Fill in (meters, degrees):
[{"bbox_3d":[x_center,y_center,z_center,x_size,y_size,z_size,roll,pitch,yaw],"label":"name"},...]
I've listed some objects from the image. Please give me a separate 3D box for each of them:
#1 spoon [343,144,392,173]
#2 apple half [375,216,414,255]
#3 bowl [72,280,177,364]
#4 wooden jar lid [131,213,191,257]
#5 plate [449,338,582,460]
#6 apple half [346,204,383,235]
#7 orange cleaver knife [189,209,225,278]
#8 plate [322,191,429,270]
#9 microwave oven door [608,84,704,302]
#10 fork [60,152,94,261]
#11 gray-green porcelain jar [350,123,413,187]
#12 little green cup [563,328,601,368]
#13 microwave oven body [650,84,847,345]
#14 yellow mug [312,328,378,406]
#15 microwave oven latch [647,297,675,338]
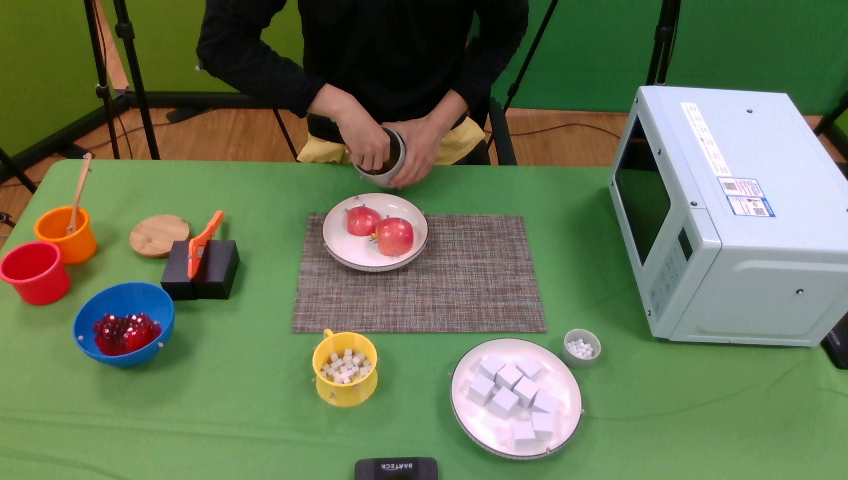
[{"bbox_3d":[-0.106,-0.158,1.180,0.021,0.194,0.041,-17,75,17],"label":"spoon"},{"bbox_3d":[-0.056,-0.017,1.169,0.075,0.053,0.080,0,46,-7],"label":"apple half"},{"bbox_3d":[-0.473,0.147,0.982,0.151,0.077,0.150,2,46,-2],"label":"bowl"},{"bbox_3d":[-0.504,-0.008,1.167,0.108,0.021,0.107,3,46,-3],"label":"wooden jar lid"},{"bbox_3d":[0.141,0.251,0.956,0.208,0.039,0.206,2,46,-2],"label":"plate"},{"bbox_3d":[-0.119,-0.049,1.207,0.081,0.033,0.081,2,50,-2],"label":"apple half"},{"bbox_3d":[-0.401,0.002,1.122,0.012,0.077,0.210,3,22,-4],"label":"orange cleaver knife"},{"bbox_3d":[-0.094,-0.015,1.185,0.209,0.038,0.208,2,46,-2],"label":"plate"},{"bbox_3d":[0.424,-0.096,1.138,0.039,0.245,0.353,3,46,-1],"label":"microwave oven door"},{"bbox_3d":[-0.638,-0.063,1.119,0.028,0.018,0.207,12,90,7],"label":"fork"},{"bbox_3d":[-0.081,-0.167,1.227,0.106,0.127,0.105,-1,82,10],"label":"gray-green porcelain jar"},{"bbox_3d":[0.265,0.184,1.025,0.061,0.039,0.061,1,46,-1],"label":"little green cup"},{"bbox_3d":[0.569,-0.054,1.116,0.326,0.261,0.439,2,46,-1],"label":"microwave oven body"},{"bbox_3d":[-0.132,0.193,0.971,0.100,0.064,0.130,-22,51,-22],"label":"yellow mug"},{"bbox_3d":[0.413,0.133,1.060,0.030,0.029,0.078,5,46,2],"label":"microwave oven latch"}]
